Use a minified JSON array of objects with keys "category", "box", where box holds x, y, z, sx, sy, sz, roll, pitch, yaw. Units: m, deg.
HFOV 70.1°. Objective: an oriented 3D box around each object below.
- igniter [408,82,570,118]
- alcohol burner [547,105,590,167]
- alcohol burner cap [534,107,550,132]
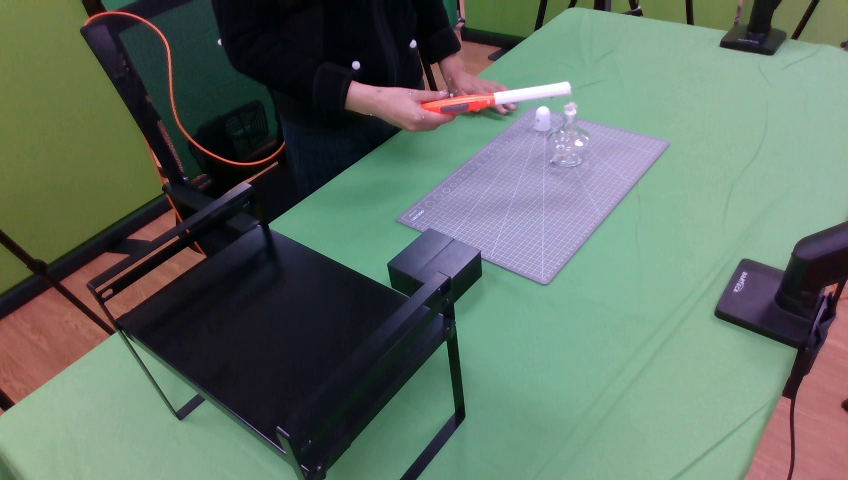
[{"category":"igniter","box":[0.109,-0.240,1.035,0.276,0.025,0.057,-8,27,4]},{"category":"alcohol burner","box":[0.260,-0.192,1.087,0.078,0.119,0.077,-5,43,5]},{"category":"alcohol burner cap","box":[0.235,-0.243,1.206,0.034,0.048,0.033,-4,38,3]}]
